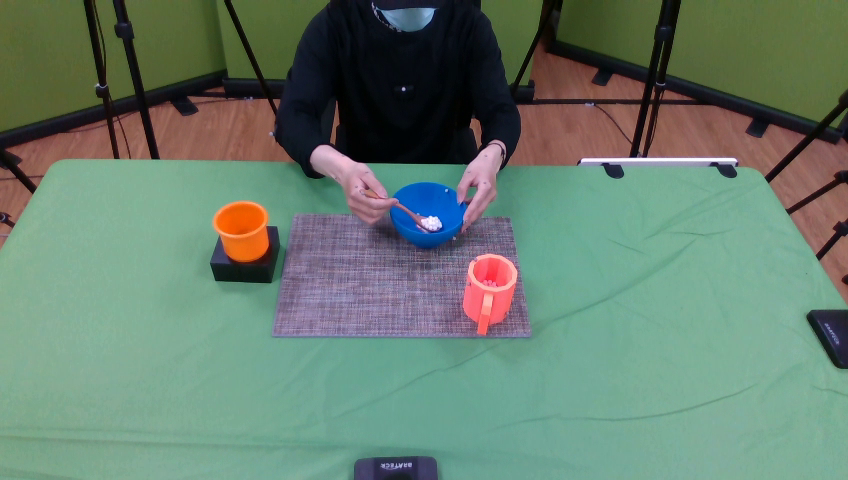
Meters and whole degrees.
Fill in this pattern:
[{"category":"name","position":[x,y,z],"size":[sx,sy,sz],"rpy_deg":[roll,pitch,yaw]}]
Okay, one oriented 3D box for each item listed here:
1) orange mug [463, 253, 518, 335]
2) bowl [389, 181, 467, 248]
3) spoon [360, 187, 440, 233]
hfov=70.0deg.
[{"category":"orange mug","position":[0.113,0.098,1.050],"size":[0.083,0.101,0.125],"rpy_deg":[10,42,6]},{"category":"bowl","position":[0.006,-0.038,1.189],"size":[0.151,0.077,0.150],"rpy_deg":[1,46,-1]},{"category":"spoon","position":[-0.042,-0.059,1.141],"size":[0.195,0.021,0.041],"rpy_deg":[30,43,-38]}]
